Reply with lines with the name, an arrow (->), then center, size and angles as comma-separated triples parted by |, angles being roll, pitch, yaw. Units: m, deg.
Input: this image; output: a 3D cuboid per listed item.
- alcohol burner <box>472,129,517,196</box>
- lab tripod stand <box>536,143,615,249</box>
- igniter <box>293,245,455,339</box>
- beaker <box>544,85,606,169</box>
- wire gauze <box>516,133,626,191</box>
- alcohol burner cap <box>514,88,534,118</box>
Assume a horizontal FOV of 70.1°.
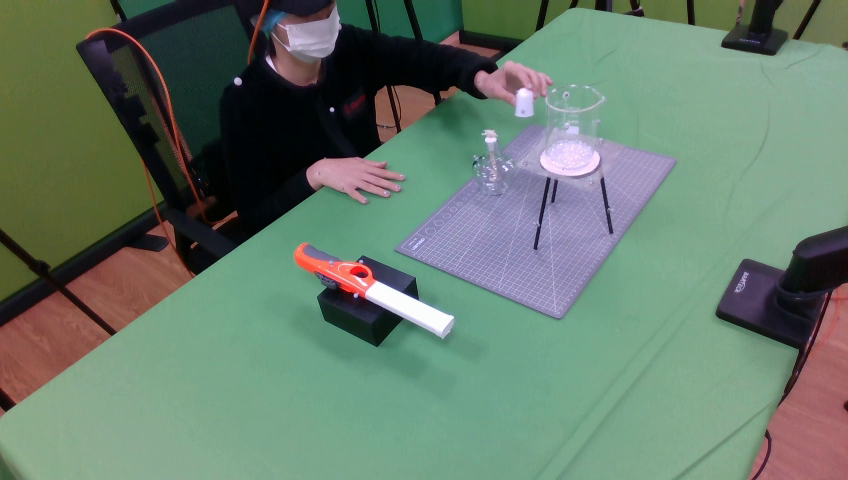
alcohol burner -> 0.120, -0.136, 1.045 | 0.078, 0.119, 0.077 | -6, 39, 6
lab tripod stand -> 0.224, -0.069, 0.931 | 0.148, 0.132, 0.147 | -4, 42, 4
igniter -> -0.079, 0.066, 0.834 | 0.274, 0.025, 0.057 | 23, 48, 27
beaker -> 0.212, -0.158, 0.861 | 0.084, 0.101, 0.073 | -3, 41, 6
wire gauze -> 0.217, -0.122, 0.893 | 0.124, 0.011, 0.122 | 20, 47, 32
alcohol burner cap -> 0.169, -0.231, 1.021 | 0.034, 0.048, 0.033 | -5, 31, 3
